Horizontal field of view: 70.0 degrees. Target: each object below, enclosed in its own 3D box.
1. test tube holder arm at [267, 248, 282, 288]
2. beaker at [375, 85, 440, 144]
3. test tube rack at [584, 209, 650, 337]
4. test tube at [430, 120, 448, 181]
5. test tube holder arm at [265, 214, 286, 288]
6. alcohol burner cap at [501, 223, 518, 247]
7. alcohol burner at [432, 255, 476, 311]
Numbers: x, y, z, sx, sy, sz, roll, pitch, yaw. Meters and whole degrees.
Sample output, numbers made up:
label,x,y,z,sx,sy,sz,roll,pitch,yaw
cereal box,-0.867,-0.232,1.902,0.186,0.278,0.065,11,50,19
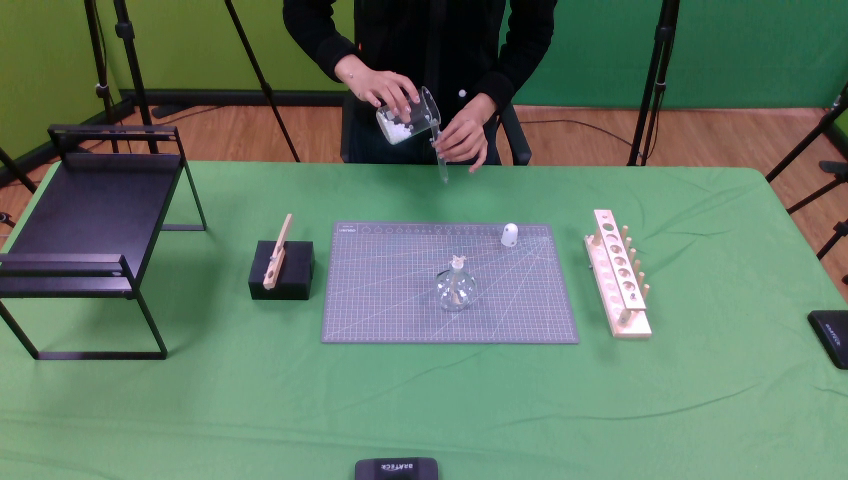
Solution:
label,x,y,z,sx,sy,sz,roll,pitch,yaw
test tube holder arm,-0.262,0.048,1.068,0.010,0.015,0.087,4,45,-3
beaker,-0.031,-0.221,1.092,0.100,0.084,0.073,-27,56,-5
test tube rack,0.365,0.056,1.129,0.067,0.085,0.240,1,46,-4
test tube,0.030,-0.172,1.184,0.017,0.151,0.017,-6,49,7
test tube holder arm,-0.268,0.016,1.099,0.013,0.015,0.177,3,45,-5
alcohol burner cap,0.172,-0.013,1.206,0.034,0.048,0.033,2,45,-1
alcohol burner,0.055,0.070,1.068,0.078,0.119,0.077,3,45,-3
